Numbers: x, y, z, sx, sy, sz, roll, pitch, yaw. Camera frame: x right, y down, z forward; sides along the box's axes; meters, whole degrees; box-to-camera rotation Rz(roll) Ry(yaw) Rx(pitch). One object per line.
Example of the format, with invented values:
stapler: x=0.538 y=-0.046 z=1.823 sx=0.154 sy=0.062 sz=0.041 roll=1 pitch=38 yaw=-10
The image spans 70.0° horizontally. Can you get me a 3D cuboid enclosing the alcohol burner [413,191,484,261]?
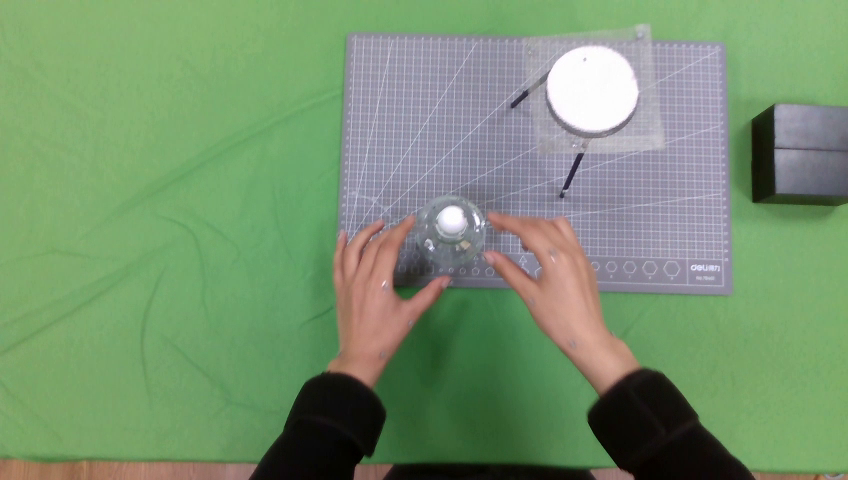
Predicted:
alcohol burner: x=0.027 y=-0.018 z=0.640 sx=0.078 sy=0.119 sz=0.077 roll=0 pitch=81 yaw=-1

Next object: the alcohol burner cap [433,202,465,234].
alcohol burner cap: x=0.026 y=-0.024 z=0.604 sx=0.034 sy=0.048 sz=0.034 roll=0 pitch=85 yaw=-1

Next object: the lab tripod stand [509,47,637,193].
lab tripod stand: x=0.163 y=-0.137 z=0.643 sx=0.148 sy=0.132 sz=0.148 roll=0 pitch=81 yaw=0

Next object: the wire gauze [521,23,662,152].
wire gauze: x=0.160 y=-0.144 z=0.577 sx=0.125 sy=0.011 sz=0.121 roll=-4 pitch=83 yaw=-1
